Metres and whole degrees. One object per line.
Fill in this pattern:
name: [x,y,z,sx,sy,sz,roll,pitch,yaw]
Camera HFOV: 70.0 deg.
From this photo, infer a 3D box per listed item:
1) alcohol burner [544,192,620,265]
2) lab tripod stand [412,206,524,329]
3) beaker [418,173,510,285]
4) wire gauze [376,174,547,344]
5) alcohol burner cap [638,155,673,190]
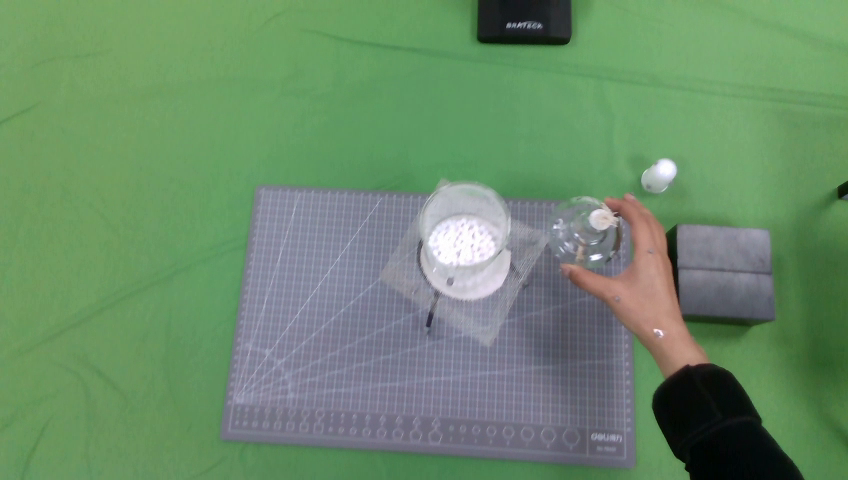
alcohol burner: [0.164,-0.015,0.613,0.078,0.119,0.077,0,79,-1]
lab tripod stand: [0.040,0.025,0.639,0.148,0.132,0.147,0,74,1]
beaker: [0.031,-0.001,0.528,0.074,0.101,0.084,28,77,8]
wire gauze: [0.036,0.014,0.574,0.125,0.011,0.121,32,80,6]
alcohol burner cap: [0.274,-0.081,0.710,0.034,0.048,0.033,-1,74,3]
